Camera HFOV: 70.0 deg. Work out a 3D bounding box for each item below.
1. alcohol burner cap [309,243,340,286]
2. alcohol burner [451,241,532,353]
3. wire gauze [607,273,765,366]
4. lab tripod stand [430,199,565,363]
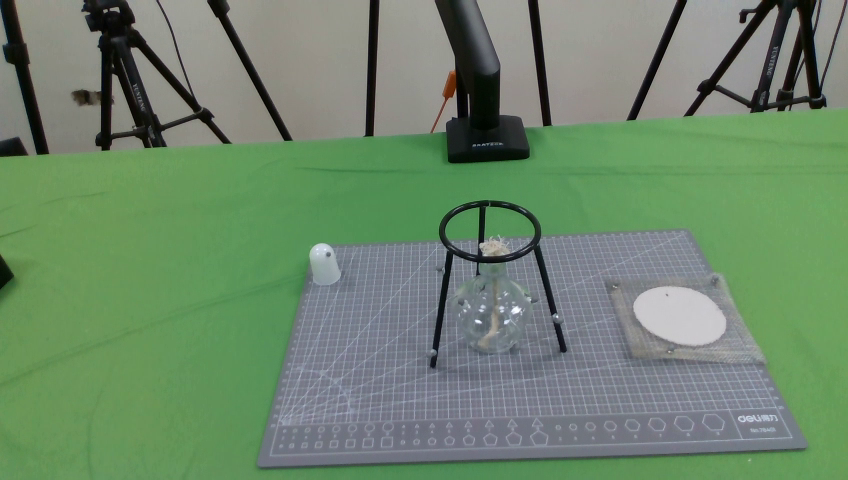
[{"bbox_3d":[-0.113,0.024,0.679,0.034,0.048,0.033,-2,39,2],"label":"alcohol burner cap"},{"bbox_3d":[0.064,0.049,0.570,0.078,0.120,0.077,-1,37,1],"label":"alcohol burner"},{"bbox_3d":[0.255,0.075,0.604,0.125,0.011,0.120,1,38,4],"label":"wire gauze"},{"bbox_3d":[0.065,0.039,0.566,0.148,0.132,0.147,-1,37,1],"label":"lab tripod stand"}]
